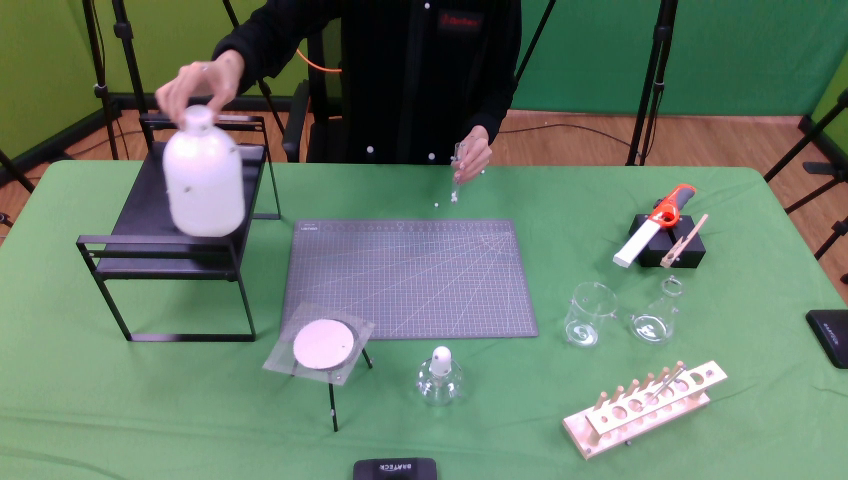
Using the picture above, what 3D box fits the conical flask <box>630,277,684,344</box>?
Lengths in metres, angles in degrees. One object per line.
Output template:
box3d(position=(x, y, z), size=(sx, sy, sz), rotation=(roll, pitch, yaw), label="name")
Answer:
box3d(position=(0.408, 0.117, 1.045), size=(0.075, 0.122, 0.075), rotation=(2, 46, -2), label="conical flask")

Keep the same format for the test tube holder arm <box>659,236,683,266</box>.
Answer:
box3d(position=(0.472, 0.020, 1.149), size=(0.010, 0.015, 0.088), rotation=(35, 54, 27), label="test tube holder arm")

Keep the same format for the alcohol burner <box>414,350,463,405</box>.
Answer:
box3d(position=(0.023, 0.205, 0.939), size=(0.078, 0.120, 0.077), rotation=(1, 48, -1), label="alcohol burner")

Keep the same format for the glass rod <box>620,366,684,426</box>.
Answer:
box3d(position=(0.323, 0.227, 0.866), size=(0.008, 0.200, 0.008), rotation=(5, 51, -7), label="glass rod")

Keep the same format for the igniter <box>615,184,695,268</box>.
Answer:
box3d(position=(0.459, -0.035, 1.197), size=(0.057, 0.025, 0.276), rotation=(33, 55, 27), label="igniter")

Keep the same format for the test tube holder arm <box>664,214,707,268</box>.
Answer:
box3d(position=(0.507, -0.001, 1.171), size=(0.013, 0.015, 0.178), rotation=(34, 54, 26), label="test tube holder arm")

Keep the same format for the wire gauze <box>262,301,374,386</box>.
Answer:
box3d(position=(-0.150, 0.148, 0.873), size=(0.121, 0.011, 0.124), rotation=(14, 46, 12), label="wire gauze")

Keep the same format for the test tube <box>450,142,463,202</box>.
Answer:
box3d(position=(0.059, -0.122, 1.121), size=(0.017, 0.151, 0.017), rotation=(1, 52, -1), label="test tube")

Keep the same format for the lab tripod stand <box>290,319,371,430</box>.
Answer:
box3d(position=(-0.146, 0.193, 0.923), size=(0.148, 0.132, 0.147), rotation=(1, 47, -1), label="lab tripod stand")

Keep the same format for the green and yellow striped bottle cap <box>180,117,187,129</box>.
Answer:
box3d(position=(-0.358, -0.177, 0.951), size=(0.045, 0.020, 0.045), rotation=(2, 45, -2), label="green and yellow striped bottle cap")

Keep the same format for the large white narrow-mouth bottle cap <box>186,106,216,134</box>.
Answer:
box3d(position=(-0.297, -0.160, 0.806), size=(0.038, 0.024, 0.037), rotation=(8, 44, -7), label="large white narrow-mouth bottle cap")

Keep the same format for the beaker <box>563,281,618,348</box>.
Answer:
box3d(position=(0.283, 0.129, 1.041), size=(0.074, 0.101, 0.083), rotation=(11, 46, 7), label="beaker")

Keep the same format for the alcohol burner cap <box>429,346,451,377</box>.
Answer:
box3d(position=(0.026, 0.180, 0.912), size=(0.034, 0.048, 0.033), rotation=(1, 47, -1), label="alcohol burner cap")

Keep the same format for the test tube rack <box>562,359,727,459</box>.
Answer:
box3d(position=(0.341, 0.247, 0.940), size=(0.243, 0.085, 0.066), rotation=(-16, 49, -18), label="test tube rack")

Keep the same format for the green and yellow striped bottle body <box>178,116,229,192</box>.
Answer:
box3d(position=(-0.361, -0.142, 0.989), size=(0.063, 0.120, 0.063), rotation=(2, 46, -2), label="green and yellow striped bottle body")

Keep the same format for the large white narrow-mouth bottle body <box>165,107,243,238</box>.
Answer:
box3d(position=(-0.314, -0.100, 0.866), size=(0.102, 0.195, 0.101), rotation=(8, 44, -7), label="large white narrow-mouth bottle body")
